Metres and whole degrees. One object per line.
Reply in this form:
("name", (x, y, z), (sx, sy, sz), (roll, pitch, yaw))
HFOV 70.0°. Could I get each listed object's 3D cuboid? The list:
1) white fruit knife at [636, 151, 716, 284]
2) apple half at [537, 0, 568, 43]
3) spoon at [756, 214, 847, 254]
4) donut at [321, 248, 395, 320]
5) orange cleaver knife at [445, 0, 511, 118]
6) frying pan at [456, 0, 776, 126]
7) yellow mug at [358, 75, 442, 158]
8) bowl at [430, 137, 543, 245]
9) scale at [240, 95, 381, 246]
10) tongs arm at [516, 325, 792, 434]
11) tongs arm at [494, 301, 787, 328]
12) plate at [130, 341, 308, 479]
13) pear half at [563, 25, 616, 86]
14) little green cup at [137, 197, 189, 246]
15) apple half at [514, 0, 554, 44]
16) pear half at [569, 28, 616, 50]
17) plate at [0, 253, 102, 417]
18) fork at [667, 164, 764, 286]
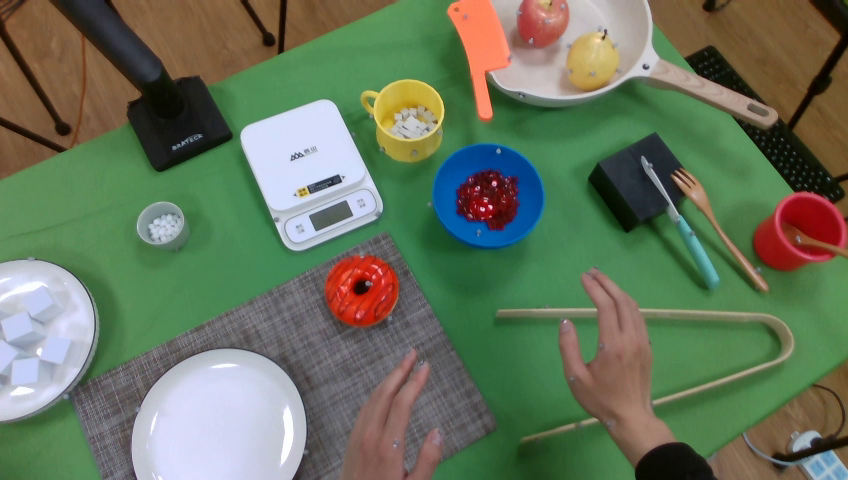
("white fruit knife", (0.344, -0.032, 0.831), (0.016, 0.027, 0.207), (-30, 89, -11))
("apple half", (0.189, -0.350, 0.932), (0.053, 0.075, 0.080), (-36, 72, -17))
("spoon", (0.526, 0.005, 0.792), (0.041, 0.022, 0.192), (-33, 31, -13))
("donut", (-0.086, 0.058, 0.797), (0.099, 0.048, 0.098), (0, 72, -1))
("orange cleaver knife", (0.085, -0.272, 0.871), (0.077, 0.012, 0.210), (-10, 72, -5))
("frying pan", (0.278, -0.282, 0.901), (0.485, 0.103, 0.306), (31, 73, 16))
("yellow mug", (-0.039, -0.185, 0.875), (0.130, 0.064, 0.099), (27, 72, 8))
("bowl", (0.081, -0.055, 0.830), (0.151, 0.077, 0.150), (1, 72, -2))
("scale", (-0.163, -0.102, 0.860), (0.149, 0.032, 0.199), (-24, 74, -9))
("tongs arm", (0.299, 0.177, 0.780), (0.385, 0.027, 0.050), (-12, 69, -6))
("tongs arm", (0.287, 0.097, 0.807), (0.388, 0.028, 0.028), (2, 65, -2))
("plate", (-0.244, 0.228, 0.736), (0.209, 0.038, 0.207), (1, 72, -2))
("pear half", (0.245, -0.268, 0.888), (0.076, 0.110, 0.055), (7, 70, 4))
("little green cup", (-0.351, -0.022, 0.821), (0.061, 0.039, 0.061), (1, 71, -1))
("apple half", (0.159, -0.328, 0.922), (0.033, 0.082, 0.081), (-36, 75, -18))
("pear half", (0.252, -0.297, 0.908), (0.070, 0.088, 0.031), (7, 72, 3))
("plate", (-0.512, 0.119, 0.766), (0.208, 0.039, 0.206), (1, 71, -2))
("fork", (0.406, -0.020, 0.838), (0.028, 0.018, 0.207), (-37, 92, -17))
